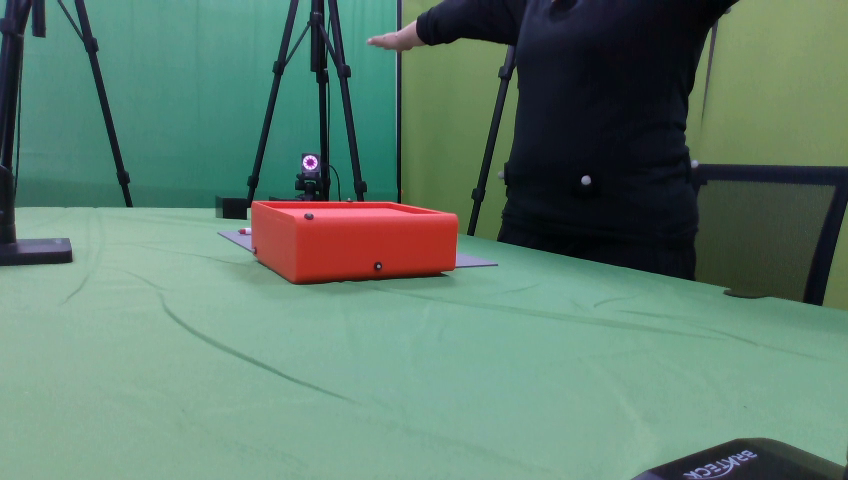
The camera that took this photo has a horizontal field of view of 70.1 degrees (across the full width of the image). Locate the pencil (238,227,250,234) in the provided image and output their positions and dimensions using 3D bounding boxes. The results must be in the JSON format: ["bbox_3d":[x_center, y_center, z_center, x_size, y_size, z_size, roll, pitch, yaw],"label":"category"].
[{"bbox_3d":[-0.240,-0.015,1.105,0.195,0.012,0.012,1,7,-30],"label":"pencil"}]

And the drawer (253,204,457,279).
[{"bbox_3d":[-0.095,-0.004,0.790,0.213,0.073,0.193,-3,10,-30],"label":"drawer"}]

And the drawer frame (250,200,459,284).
[{"bbox_3d":[-0.096,-0.005,0.788,0.215,0.082,0.200,-3,10,-30],"label":"drawer frame"}]
